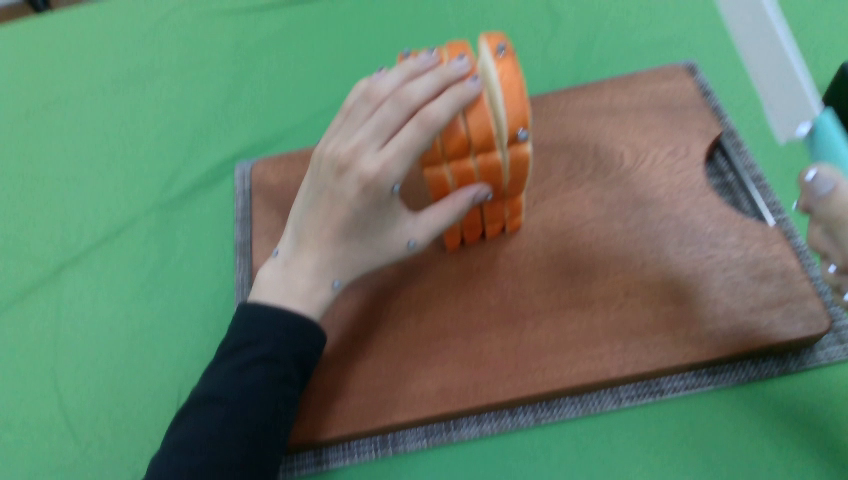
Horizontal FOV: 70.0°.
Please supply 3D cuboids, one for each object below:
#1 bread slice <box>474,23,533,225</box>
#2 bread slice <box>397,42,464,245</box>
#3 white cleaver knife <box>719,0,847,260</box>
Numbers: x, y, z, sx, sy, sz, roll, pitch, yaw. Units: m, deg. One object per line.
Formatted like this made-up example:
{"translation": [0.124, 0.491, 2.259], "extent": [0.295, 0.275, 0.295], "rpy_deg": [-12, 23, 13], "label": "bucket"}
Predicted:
{"translation": [0.057, -0.088, 0.444], "extent": [0.019, 0.132, 0.104], "rpy_deg": [-12, 59, -2], "label": "bread slice"}
{"translation": [0.005, -0.076, 0.445], "extent": [0.018, 0.135, 0.106], "rpy_deg": [-14, 55, 4], "label": "bread slice"}
{"translation": [0.204, -0.084, 0.337], "extent": [0.021, 0.066, 0.287], "rpy_deg": [-24, 95, 9], "label": "white cleaver knife"}
